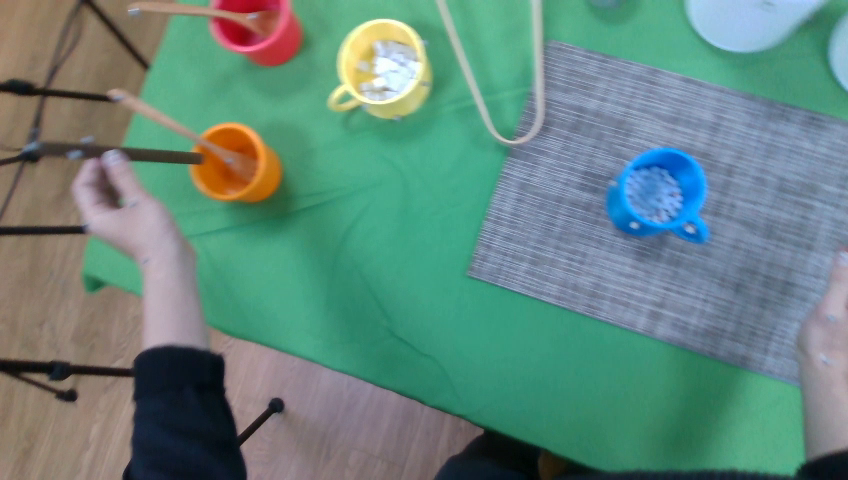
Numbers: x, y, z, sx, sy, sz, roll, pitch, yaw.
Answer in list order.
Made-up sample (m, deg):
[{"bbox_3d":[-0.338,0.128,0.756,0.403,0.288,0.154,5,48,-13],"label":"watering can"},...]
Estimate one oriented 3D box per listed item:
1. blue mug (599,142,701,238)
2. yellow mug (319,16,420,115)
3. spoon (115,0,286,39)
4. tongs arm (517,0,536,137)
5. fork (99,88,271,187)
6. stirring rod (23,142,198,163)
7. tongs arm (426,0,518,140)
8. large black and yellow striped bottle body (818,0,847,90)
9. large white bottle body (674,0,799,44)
[{"bbox_3d":[0.251,-0.044,0.657,0.116,0.106,0.082,44,93,7],"label":"blue mug"},{"bbox_3d":[-0.071,-0.199,0.729,0.131,0.064,0.099,-34,84,6],"label":"yellow mug"},{"bbox_3d":[-0.258,-0.267,0.717,0.195,0.021,0.041,-5,84,-37],"label":"spoon"},{"bbox_3d":[0.102,-0.317,0.709,0.028,0.027,0.387,-7,93,-1],"label":"tongs arm"},{"bbox_3d":[-0.273,-0.118,0.708,0.209,0.018,0.028,30,89,-36],"label":"fork"},{"bbox_3d":[-0.302,-0.086,0.601,0.006,0.177,0.014,19,105,30],"label":"stirring rod"},{"bbox_3d":[0.021,-0.295,0.716,0.051,0.026,0.385,-21,92,3],"label":"tongs arm"},{"bbox_3d":[0.500,-0.227,0.597,0.130,0.184,0.130,0,86,8],"label":"large black and yellow striped bottle body"},{"bbox_3d":[0.344,-0.296,0.619,0.130,0.185,0.130,0,87,8],"label":"large white bottle body"}]
